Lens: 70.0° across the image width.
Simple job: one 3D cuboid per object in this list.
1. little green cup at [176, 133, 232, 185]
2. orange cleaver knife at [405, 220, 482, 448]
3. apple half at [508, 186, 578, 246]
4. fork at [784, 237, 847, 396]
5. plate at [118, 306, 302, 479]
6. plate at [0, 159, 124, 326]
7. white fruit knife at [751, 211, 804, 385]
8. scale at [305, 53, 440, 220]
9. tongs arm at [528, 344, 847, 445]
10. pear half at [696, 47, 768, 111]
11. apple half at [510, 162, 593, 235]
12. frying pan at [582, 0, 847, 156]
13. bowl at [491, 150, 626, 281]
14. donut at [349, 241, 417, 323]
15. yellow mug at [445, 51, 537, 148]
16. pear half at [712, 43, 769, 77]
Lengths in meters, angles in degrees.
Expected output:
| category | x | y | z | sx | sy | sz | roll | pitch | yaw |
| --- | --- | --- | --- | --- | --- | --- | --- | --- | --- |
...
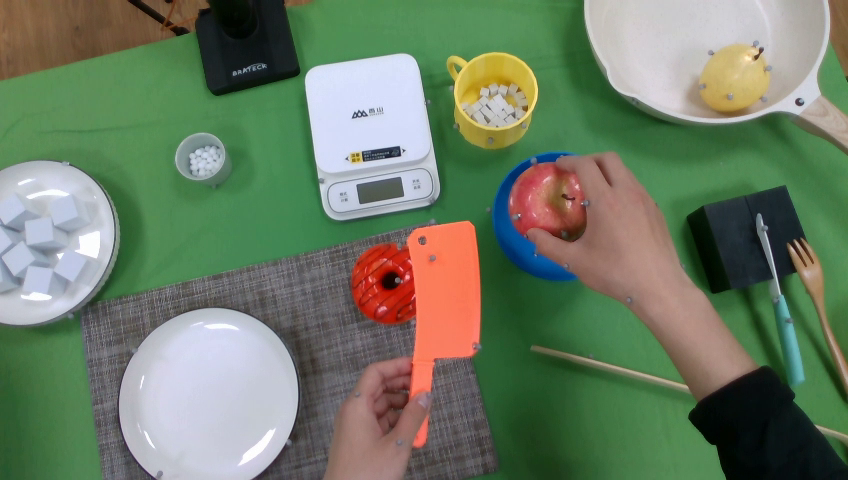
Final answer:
| category | x | y | z | sx | sy | sz | roll | pitch | yaw |
| --- | --- | --- | --- | --- | --- | --- | --- | --- | --- |
| little green cup | -0.272 | -0.098 | 0.758 | 0.061 | 0.039 | 0.061 | 0 | 78 | 2 |
| orange cleaver knife | 0.017 | 0.082 | 0.560 | 0.077 | 0.012 | 0.210 | 5 | 81 | -14 |
| apple half | 0.106 | -0.015 | 0.582 | 0.081 | 0.081 | 0.033 | 38 | 80 | 9 |
| fork | 0.455 | 0.094 | 0.686 | 0.028 | 0.018 | 0.207 | -23 | 95 | -6 |
| plate | -0.242 | 0.180 | 0.699 | 0.209 | 0.038 | 0.208 | 0 | 79 | 2 |
| plate | -0.468 | 0.003 | 0.745 | 0.207 | 0.039 | 0.206 | 0 | 79 | 2 |
| white fruit knife | 0.398 | 0.068 | 0.685 | 0.016 | 0.027 | 0.207 | -16 | 93 | 0 |
| scale | -0.066 | -0.132 | 0.762 | 0.149 | 0.032 | 0.200 | -9 | 79 | 0 |
| tongs arm | 0.308 | 0.179 | 0.692 | 0.387 | 0.028 | 0.028 | 16 | 72 | 4 |
| pear half | 0.367 | -0.189 | 0.716 | 0.076 | 0.110 | 0.056 | 22 | 81 | 10 |
| apple half | 0.129 | -0.045 | 0.588 | 0.081 | 0.075 | 0.053 | 38 | 80 | 2 |
| frying pan | 0.405 | -0.199 | 0.724 | 0.307 | 0.103 | 0.484 | -40 | 72 | -5 |
| bowl | 0.151 | -0.022 | 0.711 | 0.151 | 0.077 | 0.150 | 0 | 80 | 2 |
| donut | -0.041 | 0.049 | 0.716 | 0.099 | 0.048 | 0.098 | -1 | 79 | 4 |
| yellow mug | 0.074 | -0.182 | 0.750 | 0.130 | 0.064 | 0.100 | 43 | 84 | 10 |
| pear half | 0.383 | -0.219 | 0.731 | 0.070 | 0.088 | 0.031 | 20 | 82 | 9 |
